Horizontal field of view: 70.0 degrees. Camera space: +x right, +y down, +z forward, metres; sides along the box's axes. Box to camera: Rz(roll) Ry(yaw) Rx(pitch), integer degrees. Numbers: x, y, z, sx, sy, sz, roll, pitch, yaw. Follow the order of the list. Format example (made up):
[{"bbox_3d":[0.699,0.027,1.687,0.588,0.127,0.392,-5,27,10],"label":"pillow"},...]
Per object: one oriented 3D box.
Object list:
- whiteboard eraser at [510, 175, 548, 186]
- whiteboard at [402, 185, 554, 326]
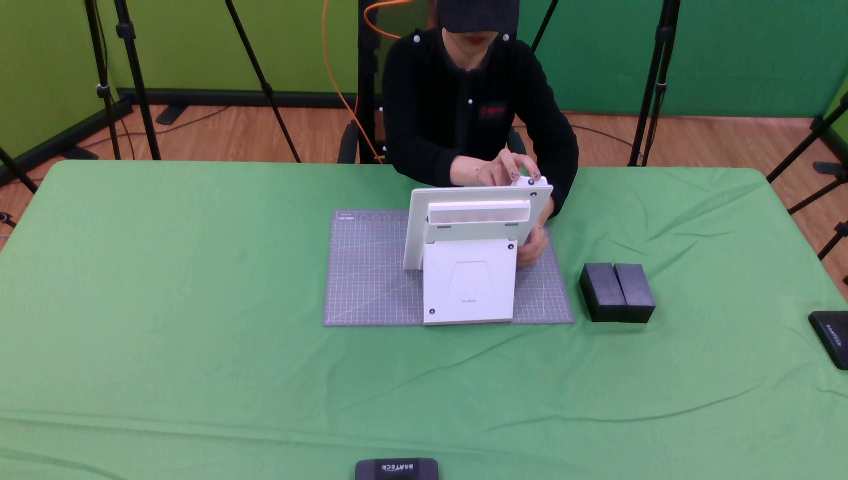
[{"bbox_3d":[0.160,-0.064,0.993,0.056,0.113,0.041,-2,66,-12],"label":"whiteboard eraser"},{"bbox_3d":[0.081,0.044,1.005,0.217,0.306,0.143,-1,66,-6],"label":"whiteboard"}]
